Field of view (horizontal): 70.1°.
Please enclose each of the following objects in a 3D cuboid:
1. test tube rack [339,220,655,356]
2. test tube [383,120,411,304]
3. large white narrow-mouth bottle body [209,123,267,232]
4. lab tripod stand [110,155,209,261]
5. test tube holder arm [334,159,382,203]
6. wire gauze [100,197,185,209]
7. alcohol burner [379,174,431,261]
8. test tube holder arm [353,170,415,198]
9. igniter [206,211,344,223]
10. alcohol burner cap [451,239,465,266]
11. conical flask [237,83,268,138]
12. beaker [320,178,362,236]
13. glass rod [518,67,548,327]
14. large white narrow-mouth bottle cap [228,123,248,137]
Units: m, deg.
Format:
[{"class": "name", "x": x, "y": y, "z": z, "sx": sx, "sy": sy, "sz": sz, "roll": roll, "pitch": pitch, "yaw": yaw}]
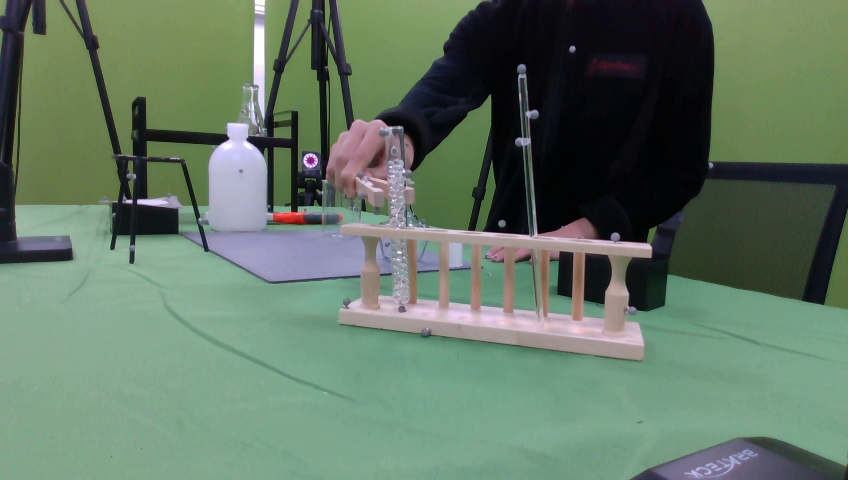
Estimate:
[{"class": "test tube rack", "x": 0.056, "y": 0.032, "z": 0.495, "sx": 0.242, "sy": 0.085, "sz": 0.067, "roll": 4, "pitch": 7, "yaw": 15}, {"class": "test tube", "x": -0.021, "y": -0.021, "z": 0.489, "sx": 0.017, "sy": 0.150, "sz": 0.017, "roll": -3, "pitch": 12, "yaw": 1}, {"class": "large white narrow-mouth bottle body", "x": -0.340, "y": -0.115, "z": 1.109, "sx": 0.102, "sy": 0.194, "sz": 0.102, "roll": 2, "pitch": 8, "yaw": 0}, {"class": "lab tripod stand", "x": -0.362, "y": -0.046, "z": 0.806, "sx": 0.148, "sy": 0.131, "sz": 0.148, "roll": 2, "pitch": 5, "yaw": 0}, {"class": "test tube holder arm", "x": -0.064, "y": -0.058, "z": 0.558, "sx": 0.013, "sy": 0.015, "sz": 0.177, "roll": -7, "pitch": 16, "yaw": -18}, {"class": "wire gauze", "x": -0.469, "y": -0.062, "z": 1.008, "sx": 0.126, "sy": 0.011, "sz": 0.121, "roll": -2, "pitch": 8, "yaw": -25}, {"class": "alcohol burner", "x": -0.027, "y": -0.031, "z": 0.838, "sx": 0.078, "sy": 0.119, "sz": 0.078, "roll": 0, "pitch": 6, "yaw": 0}, {"class": "test tube holder arm", "x": -0.040, "y": -0.049, "z": 0.523, "sx": 0.010, "sy": 0.015, "sz": 0.087, "roll": -17, "pitch": 21, "yaw": -39}, {"class": "igniter", "x": -0.302, "y": -0.048, "z": 1.250, "sx": 0.278, "sy": 0.025, "sz": 0.057, "roll": -2, "pitch": -2, "yaw": -26}, {"class": "alcohol burner cap", "x": 0.041, "y": 0.009, "z": 0.815, "sx": 0.034, "sy": 0.048, "sz": 0.034, "roll": 5, "pitch": 8, "yaw": 0}, {"class": "conical flask", "x": -0.402, "y": -0.299, "z": 1.406, "sx": 0.075, "sy": 0.122, "sz": 0.075, "roll": 2, "pitch": 7, "yaw": 0}, {"class": "beaker", "x": -0.145, "y": -0.059, "z": 1.079, "sx": 0.074, "sy": 0.100, "sz": 0.083, "roll": -4, "pitch": 10, "yaw": -36}, {"class": "glass rod", "x": 0.084, "y": -0.029, "z": 0.459, "sx": 0.008, "sy": 0.199, "sz": 0.008, "roll": -7, "pitch": 11, "yaw": 2}, {"class": "large white narrow-mouth bottle cap", "x": -0.338, "y": -0.199, "z": 1.097, "sx": 0.038, "sy": 0.024, "sz": 0.037, "roll": 2, "pitch": 8, "yaw": 0}]
